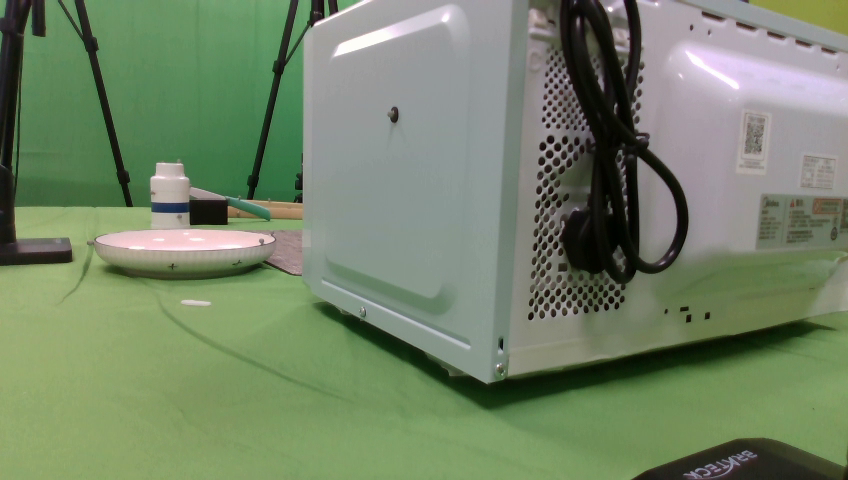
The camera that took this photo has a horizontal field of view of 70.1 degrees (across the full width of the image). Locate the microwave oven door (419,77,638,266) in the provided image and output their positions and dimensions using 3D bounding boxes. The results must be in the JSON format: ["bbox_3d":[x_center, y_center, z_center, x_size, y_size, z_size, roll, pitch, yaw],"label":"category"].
[{"bbox_3d":[0.134,-0.105,0.894,0.354,0.243,0.039,9,9,44],"label":"microwave oven door"}]

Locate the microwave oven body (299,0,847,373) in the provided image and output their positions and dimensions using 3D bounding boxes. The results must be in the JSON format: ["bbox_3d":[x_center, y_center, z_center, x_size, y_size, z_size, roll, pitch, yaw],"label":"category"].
[{"bbox_3d":[0.152,-0.055,0.542,0.444,0.260,0.324,-2,7,-33],"label":"microwave oven body"}]

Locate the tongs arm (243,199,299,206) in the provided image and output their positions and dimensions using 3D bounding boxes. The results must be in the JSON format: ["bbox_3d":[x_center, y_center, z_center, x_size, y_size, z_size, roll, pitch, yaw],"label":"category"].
[{"bbox_3d":[-0.309,-0.079,1.486,0.385,0.026,0.051,3,6,-2],"label":"tongs arm"}]

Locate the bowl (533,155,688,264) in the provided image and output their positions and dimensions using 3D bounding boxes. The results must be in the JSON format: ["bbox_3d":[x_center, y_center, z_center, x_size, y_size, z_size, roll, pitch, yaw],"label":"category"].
[{"bbox_3d":[0.172,-0.025,0.601,0.151,0.077,0.151,17,7,-2],"label":"bowl"}]

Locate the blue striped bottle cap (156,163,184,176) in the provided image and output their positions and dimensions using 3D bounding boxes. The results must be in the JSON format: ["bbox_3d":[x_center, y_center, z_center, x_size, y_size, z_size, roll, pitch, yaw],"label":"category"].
[{"bbox_3d":[-0.438,-0.122,1.045,0.044,0.020,0.044,4,6,0],"label":"blue striped bottle cap"}]

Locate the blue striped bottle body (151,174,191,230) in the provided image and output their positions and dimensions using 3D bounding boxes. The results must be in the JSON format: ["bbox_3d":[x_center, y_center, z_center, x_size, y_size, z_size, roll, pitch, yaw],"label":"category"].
[{"bbox_3d":[-0.439,-0.071,1.052,0.063,0.120,0.063,2,8,0],"label":"blue striped bottle body"}]

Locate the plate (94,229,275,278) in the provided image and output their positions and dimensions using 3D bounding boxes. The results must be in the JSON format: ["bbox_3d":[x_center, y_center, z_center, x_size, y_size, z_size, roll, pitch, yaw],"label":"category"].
[{"bbox_3d":[-0.291,0.016,0.749,0.208,0.039,0.207,2,7,0],"label":"plate"}]

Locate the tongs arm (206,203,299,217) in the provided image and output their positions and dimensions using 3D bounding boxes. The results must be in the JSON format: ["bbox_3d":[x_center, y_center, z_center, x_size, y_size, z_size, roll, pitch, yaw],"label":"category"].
[{"bbox_3d":[-0.302,-0.067,1.406,0.389,0.028,0.028,1,3,-15],"label":"tongs arm"}]

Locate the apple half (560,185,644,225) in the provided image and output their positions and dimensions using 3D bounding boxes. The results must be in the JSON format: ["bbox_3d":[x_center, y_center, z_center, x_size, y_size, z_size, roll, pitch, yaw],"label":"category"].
[{"bbox_3d":[0.174,-0.036,0.597,0.081,0.033,0.081,7,-7,1],"label":"apple half"}]

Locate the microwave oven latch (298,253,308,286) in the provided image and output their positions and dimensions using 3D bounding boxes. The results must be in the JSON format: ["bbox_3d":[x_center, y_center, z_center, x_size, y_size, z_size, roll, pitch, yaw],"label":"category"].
[{"bbox_3d":[-0.081,0.027,0.582,0.079,0.029,0.030,-1,7,-32],"label":"microwave oven latch"}]

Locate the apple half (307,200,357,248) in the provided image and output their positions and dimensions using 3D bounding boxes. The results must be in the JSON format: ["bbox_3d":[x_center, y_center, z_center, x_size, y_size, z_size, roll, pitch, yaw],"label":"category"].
[{"bbox_3d":[-0.136,-0.024,0.942,0.053,0.074,0.081,15,10,38],"label":"apple half"}]

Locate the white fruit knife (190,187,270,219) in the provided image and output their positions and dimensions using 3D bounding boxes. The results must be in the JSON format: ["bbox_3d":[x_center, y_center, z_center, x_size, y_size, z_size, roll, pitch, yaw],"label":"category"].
[{"bbox_3d":[-0.413,-0.081,1.270,0.208,0.027,0.016,17,13,-41],"label":"white fruit knife"}]
